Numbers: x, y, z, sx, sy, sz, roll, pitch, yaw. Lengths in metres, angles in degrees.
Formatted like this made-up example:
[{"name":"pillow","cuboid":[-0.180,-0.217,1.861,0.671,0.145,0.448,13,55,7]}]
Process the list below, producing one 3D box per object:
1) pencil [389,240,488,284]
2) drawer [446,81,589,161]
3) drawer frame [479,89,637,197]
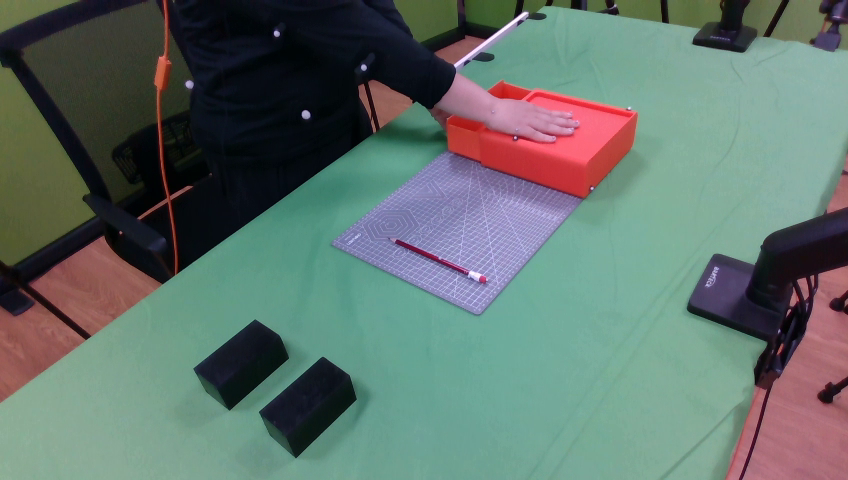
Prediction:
[{"name":"pencil","cuboid":[0.018,0.030,0.938,0.192,0.012,0.012,22,48,32]},{"name":"drawer","cuboid":[0.181,-0.211,1.141,0.210,0.073,0.195,25,48,31]},{"name":"drawer frame","cuboid":[0.243,-0.183,1.102,0.212,0.083,0.202,23,47,31]}]
